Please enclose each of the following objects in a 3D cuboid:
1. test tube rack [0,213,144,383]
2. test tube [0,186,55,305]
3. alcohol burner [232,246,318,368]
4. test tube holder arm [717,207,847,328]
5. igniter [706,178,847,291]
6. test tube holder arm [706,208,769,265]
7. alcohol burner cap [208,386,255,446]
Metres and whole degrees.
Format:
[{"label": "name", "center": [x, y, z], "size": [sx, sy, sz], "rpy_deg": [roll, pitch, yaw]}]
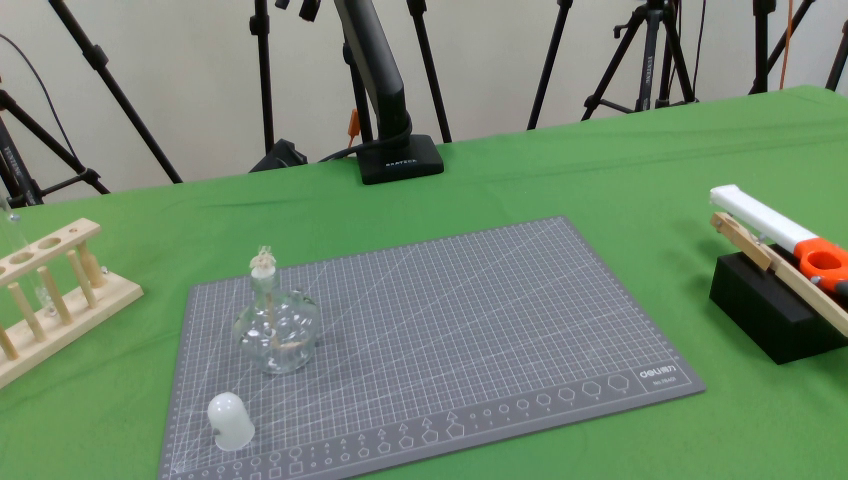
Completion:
[{"label": "test tube rack", "center": [-0.410, 0.073, 0.592], "size": [0.066, 0.086, 0.242], "rpy_deg": [17, 40, 29]}, {"label": "test tube", "center": [-0.402, 0.004, 0.603], "size": [0.017, 0.151, 0.017], "rpy_deg": [-4, 32, 3]}, {"label": "alcohol burner", "center": [-0.138, 0.057, 0.549], "size": [0.078, 0.120, 0.077], "rpy_deg": [-4, 33, 3]}, {"label": "test tube holder arm", "center": [0.319, 0.018, 0.548], "size": [0.013, 0.015, 0.176], "rpy_deg": [-6, 34, -13]}, {"label": "igniter", "center": [0.356, 0.006, 0.556], "size": [0.057, 0.025, 0.273], "rpy_deg": [-12, 31, -8]}, {"label": "test tube holder arm", "center": [0.303, -0.005, 0.583], "size": [0.010, 0.015, 0.087], "rpy_deg": [-6, 33, -12]}, {"label": "alcohol burner cap", "center": [-0.160, 0.140, 0.494], "size": [0.034, 0.048, 0.033], "rpy_deg": [-3, 34, 2]}]
